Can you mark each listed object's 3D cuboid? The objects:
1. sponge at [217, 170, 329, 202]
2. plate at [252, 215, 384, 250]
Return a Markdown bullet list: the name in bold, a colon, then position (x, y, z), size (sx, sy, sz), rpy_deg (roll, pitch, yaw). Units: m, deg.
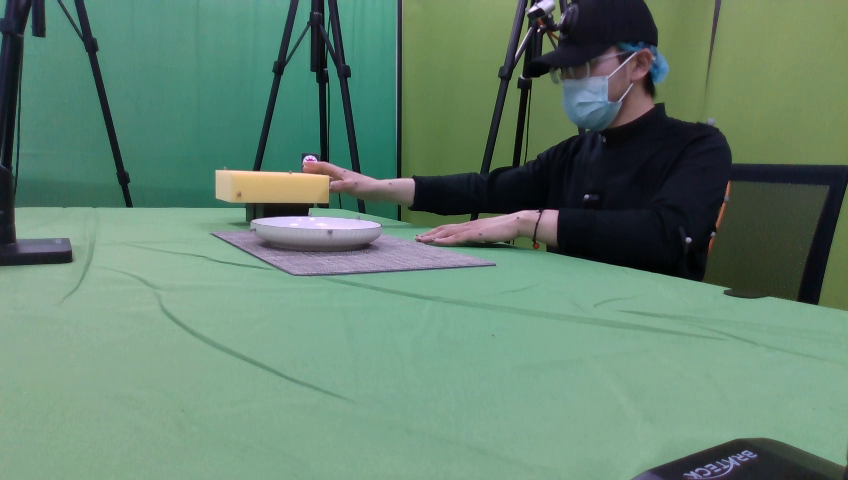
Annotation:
- **sponge**: position (-0.318, -0.113, 1.274), size (0.208, 0.061, 0.117), rpy_deg (-3, 9, -33)
- **plate**: position (-0.169, -0.012, 0.976), size (0.208, 0.039, 0.207), rpy_deg (2, 7, 0)
